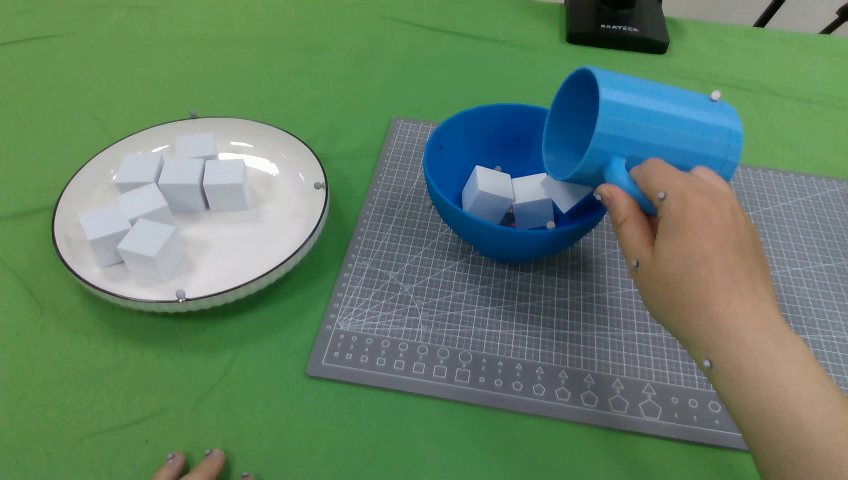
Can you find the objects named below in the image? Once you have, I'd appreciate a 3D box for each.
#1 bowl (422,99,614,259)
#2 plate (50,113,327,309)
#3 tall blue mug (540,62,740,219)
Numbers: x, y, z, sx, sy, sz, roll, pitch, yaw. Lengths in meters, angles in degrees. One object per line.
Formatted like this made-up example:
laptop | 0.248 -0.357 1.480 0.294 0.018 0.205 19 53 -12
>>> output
bowl | 0.071 -0.038 0.487 0.151 0.077 0.150 2 48 -2
plate | -0.182 -0.026 0.491 0.209 0.038 0.207 2 49 -2
tall blue mug | 0.149 -0.066 0.403 0.108 0.078 0.106 8 18 -16
